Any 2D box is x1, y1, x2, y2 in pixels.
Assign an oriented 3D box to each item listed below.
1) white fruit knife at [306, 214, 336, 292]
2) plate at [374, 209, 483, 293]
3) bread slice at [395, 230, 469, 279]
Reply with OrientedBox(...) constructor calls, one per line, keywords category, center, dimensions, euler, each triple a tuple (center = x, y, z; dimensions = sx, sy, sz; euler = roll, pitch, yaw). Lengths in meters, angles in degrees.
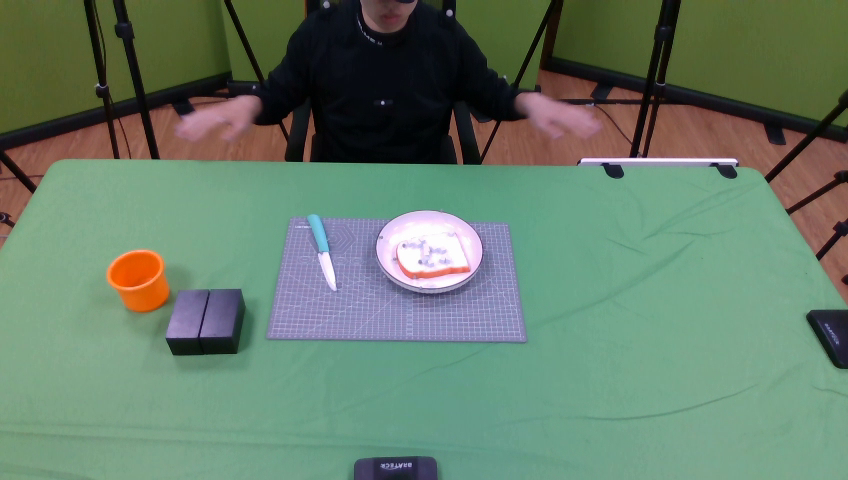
OrientedBox(category="white fruit knife", center=(-0.195, 0.022, 1.164), dimensions=(0.027, 0.016, 0.206), euler=(-30, 51, 8))
OrientedBox(category="plate", center=(0.009, 0.024, 1.160), dimensions=(0.209, 0.038, 0.208), euler=(2, 46, -2))
OrientedBox(category="bread slice", center=(0.011, 0.029, 1.158), dimensions=(0.132, 0.019, 0.104), euler=(-9, 48, -14))
